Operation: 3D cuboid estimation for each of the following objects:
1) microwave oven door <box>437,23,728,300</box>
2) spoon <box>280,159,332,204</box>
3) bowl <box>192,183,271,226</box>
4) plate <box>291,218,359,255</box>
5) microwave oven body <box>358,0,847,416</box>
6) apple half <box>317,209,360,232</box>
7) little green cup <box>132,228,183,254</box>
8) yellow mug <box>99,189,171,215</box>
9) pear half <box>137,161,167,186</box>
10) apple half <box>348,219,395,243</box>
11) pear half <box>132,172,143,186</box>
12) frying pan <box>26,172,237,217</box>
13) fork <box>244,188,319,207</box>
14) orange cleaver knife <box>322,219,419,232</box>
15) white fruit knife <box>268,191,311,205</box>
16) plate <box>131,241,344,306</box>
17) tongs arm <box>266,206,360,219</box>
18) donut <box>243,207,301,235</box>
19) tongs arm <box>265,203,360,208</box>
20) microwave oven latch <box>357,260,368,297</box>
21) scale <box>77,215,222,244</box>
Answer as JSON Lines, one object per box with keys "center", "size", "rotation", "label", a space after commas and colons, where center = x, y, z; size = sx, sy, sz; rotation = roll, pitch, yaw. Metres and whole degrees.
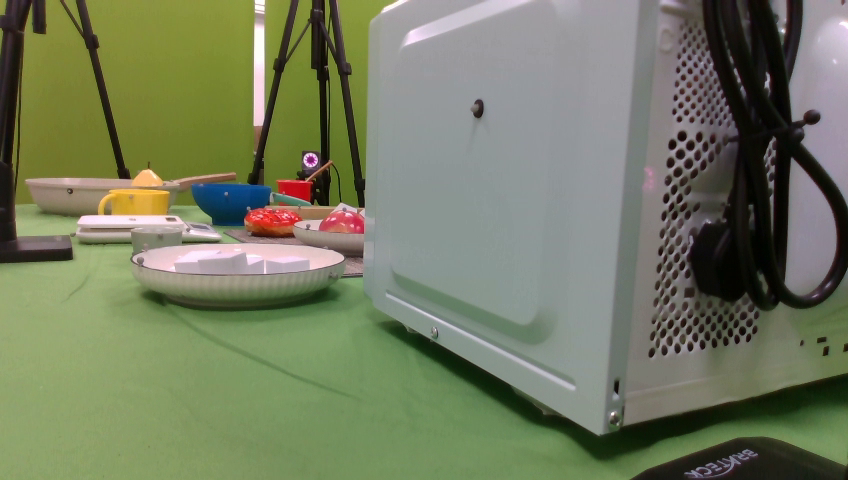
{"center": [0.180, -0.072, 0.621], "size": [0.358, 0.243, 0.039], "rotation": [-2, 9, -29], "label": "microwave oven door"}
{"center": [-0.317, -0.158, 1.640], "size": [0.194, 0.022, 0.041], "rotation": [-50, 30, -20], "label": "spoon"}
{"center": [-0.382, -0.071, 1.202], "size": [0.151, 0.077, 0.151], "rotation": [3, 7, 0], "label": "bowl"}
{"center": [-0.098, -0.007, 0.928], "size": [0.209, 0.038, 0.209], "rotation": [2, 8, 0], "label": "plate"}
{"center": [0.211, -0.047, 0.475], "size": [0.444, 0.260, 0.324], "rotation": [-1, 7, -28], "label": "microwave oven body"}
{"center": [-0.122, -0.020, 0.900], "size": [0.080, 0.053, 0.075], "rotation": [4, 10, 14], "label": "apple half"}
{"center": [-0.342, 0.006, 0.779], "size": [0.061, 0.038, 0.061], "rotation": [2, 8, 0], "label": "little green cup"}
{"center": [-0.518, -0.055, 1.080], "size": [0.099, 0.064, 0.131], "rotation": [6, 9, 26], "label": "yellow mug"}
{"center": [-0.602, -0.120, 1.354], "size": [0.056, 0.110, 0.076], "rotation": [4, 11, 6], "label": "pear half"}
{"center": [-0.083, -0.018, 0.967], "size": [0.081, 0.033, 0.081], "rotation": [5, 10, -1], "label": "apple half"}
{"center": [-0.638, -0.113, 1.361], "size": [0.031, 0.088, 0.070], "rotation": [5, 10, 4], "label": "pear half"}
{"center": [-0.624, -0.118, 1.387], "size": [0.305, 0.102, 0.490], "rotation": [8, 17, 32], "label": "frying pan"}
{"center": [-0.356, -0.105, 1.526], "size": [0.208, 0.018, 0.028], "rotation": [16, -5, -41], "label": "fork"}
{"center": [-0.097, -0.027, 1.153], "size": [0.077, 0.012, 0.212], "rotation": [1, 6, 41], "label": "orange cleaver knife"}
{"center": [-0.364, -0.105, 1.464], "size": [0.208, 0.027, 0.016], "rotation": [15, 0, -34], "label": "white fruit knife"}
{"center": [-0.187, 0.033, 0.625], "size": [0.208, 0.039, 0.207], "rotation": [2, 7, 0], "label": "plate"}
{"center": [-0.174, -0.060, 1.363], "size": [0.387, 0.026, 0.050], "rotation": [0, 4, -31], "label": "tongs arm"}
{"center": [-0.261, -0.032, 1.043], "size": [0.099, 0.048, 0.099], "rotation": [4, 9, 0], "label": "donut"}
{"center": [-0.211, -0.069, 1.438], "size": [0.389, 0.027, 0.028], "rotation": [1, 0, -17], "label": "tongs arm"}
{"center": [-0.019, 0.033, 0.530], "size": [0.079, 0.029, 0.030], "rotation": [0, 7, -26], "label": "microwave oven latch"}
{"center": [-0.434, -0.019, 0.963], "size": [0.202, 0.031, 0.148], "rotation": [-1, 9, -27], "label": "scale"}
